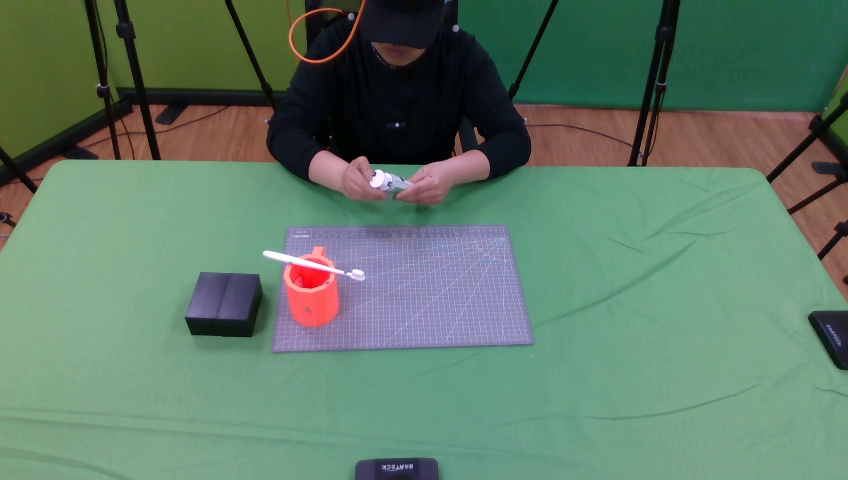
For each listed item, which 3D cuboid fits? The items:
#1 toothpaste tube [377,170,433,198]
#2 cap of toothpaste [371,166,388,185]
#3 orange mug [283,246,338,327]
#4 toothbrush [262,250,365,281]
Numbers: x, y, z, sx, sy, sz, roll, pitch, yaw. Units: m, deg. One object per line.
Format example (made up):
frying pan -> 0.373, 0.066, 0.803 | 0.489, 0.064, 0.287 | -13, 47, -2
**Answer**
toothpaste tube -> -0.043, -0.106, 1.197 | 0.055, 0.166, 0.034 | 1, 81, 29
cap of toothpaste -> -0.083, -0.120, 1.131 | 0.037, 0.011, 0.037 | -8, 76, 31
orange mug -> -0.192, 0.074, 1.056 | 0.083, 0.101, 0.125 | 5, 50, 1
toothbrush -> -0.186, 0.041, 1.015 | 0.182, 0.017, 0.014 | 13, 54, 8
